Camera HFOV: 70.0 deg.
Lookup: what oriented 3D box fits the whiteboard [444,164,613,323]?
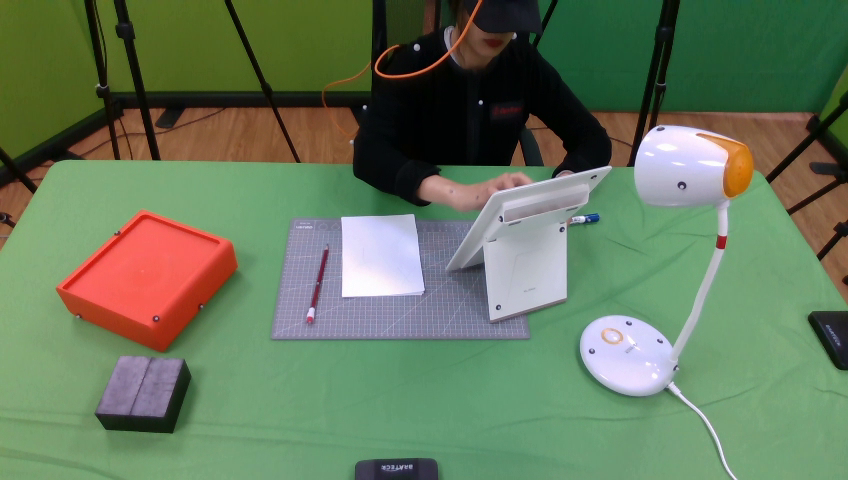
[{"bbox_3d":[0.189,0.026,1.029,0.217,0.306,0.143,-13,69,-19],"label":"whiteboard"}]

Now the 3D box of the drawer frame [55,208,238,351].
[{"bbox_3d":[-0.474,0.062,1.059,0.201,0.083,0.213,18,48,12],"label":"drawer frame"}]

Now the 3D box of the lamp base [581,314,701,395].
[{"bbox_3d":[0.361,0.145,0.973,0.178,0.181,0.160,34,53,23],"label":"lamp base"}]

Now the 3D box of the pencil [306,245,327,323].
[{"bbox_3d":[-0.196,0.076,1.115,0.012,0.012,0.193,4,44,0],"label":"pencil"}]

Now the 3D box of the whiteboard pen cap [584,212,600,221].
[{"bbox_3d":[0.351,-0.048,1.271,0.033,0.018,0.018,-6,47,-11],"label":"whiteboard pen cap"}]

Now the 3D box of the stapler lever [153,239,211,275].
[{"bbox_3d":[-0.436,0.027,1.090,0.118,0.040,0.027,25,50,14],"label":"stapler lever"}]

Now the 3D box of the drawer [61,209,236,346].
[{"bbox_3d":[-0.474,0.061,1.063,0.194,0.073,0.211,19,49,13],"label":"drawer"}]

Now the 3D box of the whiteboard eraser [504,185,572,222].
[{"bbox_3d":[0.201,-0.062,1.062,0.113,0.056,0.041,-14,70,-18],"label":"whiteboard eraser"}]

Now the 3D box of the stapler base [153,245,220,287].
[{"bbox_3d":[-0.436,0.042,1.108,0.130,0.024,0.041,23,50,15],"label":"stapler base"}]

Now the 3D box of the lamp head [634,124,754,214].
[{"bbox_3d":[0.351,-0.089,0.776,0.112,0.113,0.122,-30,30,-28],"label":"lamp head"}]

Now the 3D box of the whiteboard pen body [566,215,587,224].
[{"bbox_3d":[0.292,-0.040,1.261,0.141,0.017,0.017,-7,47,-10],"label":"whiteboard pen body"}]
